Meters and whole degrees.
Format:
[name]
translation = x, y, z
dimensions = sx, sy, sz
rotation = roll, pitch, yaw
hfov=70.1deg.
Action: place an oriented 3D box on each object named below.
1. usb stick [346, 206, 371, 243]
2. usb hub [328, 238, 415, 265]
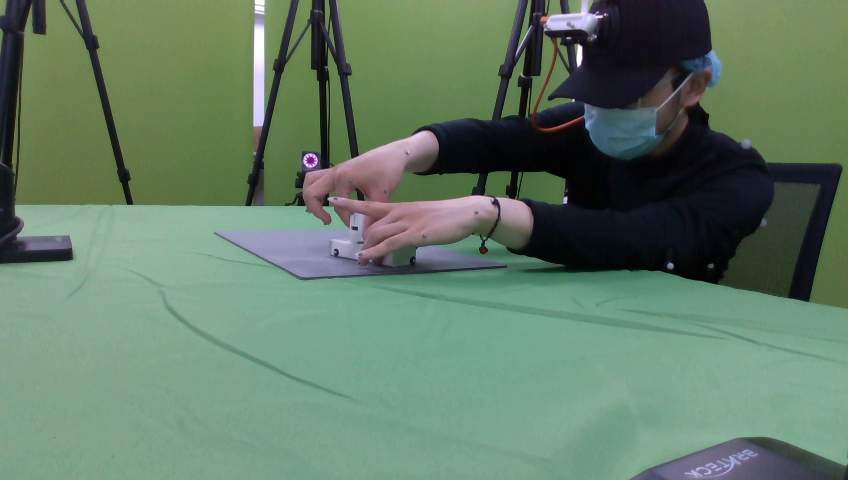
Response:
[usb stick]
translation = -0.090, -0.015, 0.829
dimensions = 0.021, 0.059, 0.027
rotation = 15, 17, 31
[usb hub]
translation = -0.075, 0.015, 0.837
dimensions = 0.124, 0.025, 0.050
rotation = 7, 8, 39
